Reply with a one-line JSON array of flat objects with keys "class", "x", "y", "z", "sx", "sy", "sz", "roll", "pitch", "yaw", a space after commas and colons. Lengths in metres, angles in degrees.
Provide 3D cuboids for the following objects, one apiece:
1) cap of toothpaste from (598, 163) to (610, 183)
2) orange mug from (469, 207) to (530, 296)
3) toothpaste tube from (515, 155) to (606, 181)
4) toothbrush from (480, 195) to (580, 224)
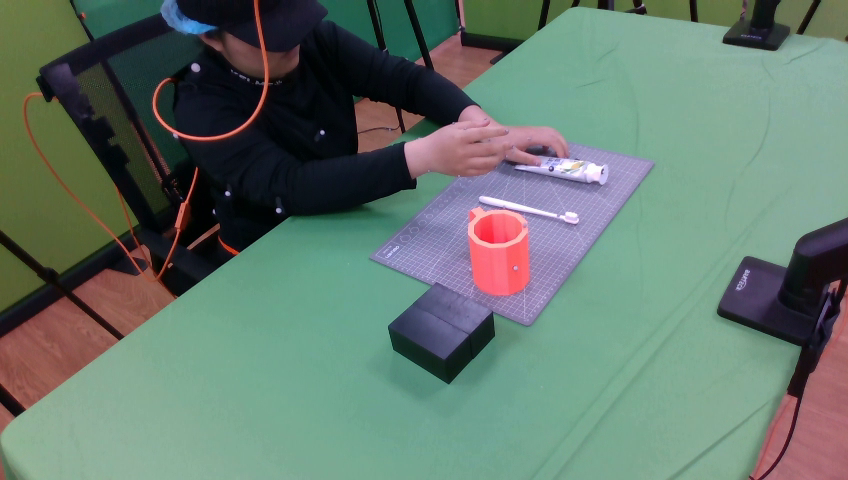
[{"class": "cap of toothpaste", "x": 0.309, "y": -0.116, "z": 1.042, "sx": 0.011, "sy": 0.037, "sz": 0.037, "roll": 16, "pitch": 46, "yaw": 39}, {"class": "orange mug", "x": 0.104, "y": 0.008, "z": 0.894, "sx": 0.084, "sy": 0.101, "sz": 0.125, "roll": -22, "pitch": 46, "yaw": -14}, {"class": "toothpaste tube", "x": 0.248, "y": -0.132, "z": 1.087, "sx": 0.164, "sy": 0.034, "sz": 0.055, "roll": 14, "pitch": 39, "yaw": 33}, {"class": "toothbrush", "x": 0.175, "y": -0.054, "z": 1.016, "sx": 0.180, "sy": 0.017, "sz": 0.014, "roll": 15, "pitch": 60, "yaw": 29}]
